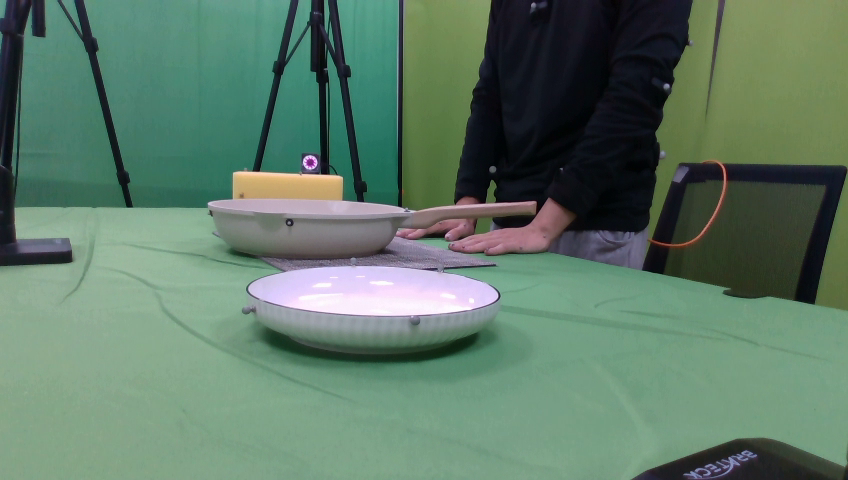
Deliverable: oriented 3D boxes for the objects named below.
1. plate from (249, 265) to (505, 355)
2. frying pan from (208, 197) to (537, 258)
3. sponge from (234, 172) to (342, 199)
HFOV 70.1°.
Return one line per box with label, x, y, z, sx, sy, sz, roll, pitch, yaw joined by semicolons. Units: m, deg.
plate;-0.037;0.056;0.504;0.208;0.039;0.207;2;7;0
frying pan;-0.076;-0.034;0.913;0.487;0.102;0.307;-5;7;11
sponge;-0.273;-0.105;1.223;0.207;0.061;0.118;0;7;-14
